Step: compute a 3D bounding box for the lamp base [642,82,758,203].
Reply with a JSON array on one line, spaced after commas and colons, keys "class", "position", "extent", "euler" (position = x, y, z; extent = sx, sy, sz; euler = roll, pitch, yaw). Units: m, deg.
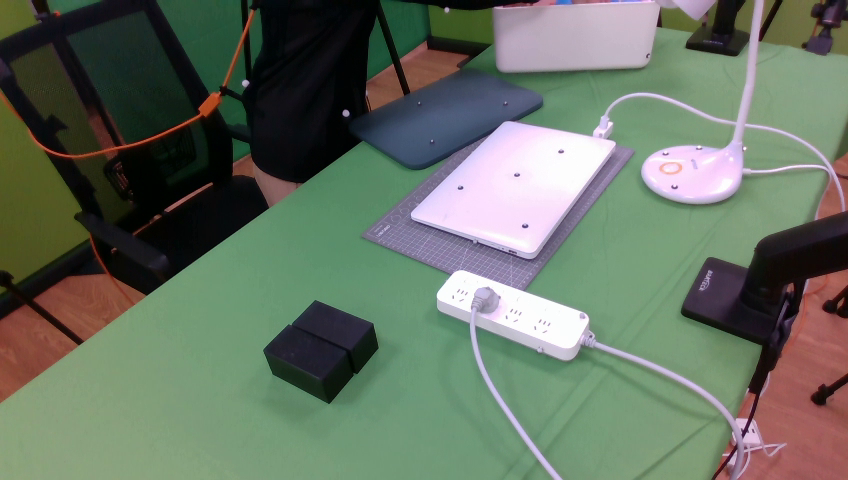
[{"class": "lamp base", "position": [0.464, -0.174, 0.992], "extent": [0.179, 0.181, 0.159], "euler": [-5, 41, -1]}]

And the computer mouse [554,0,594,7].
[{"class": "computer mouse", "position": [0.372, -0.560, 1.454], "extent": [0.117, 0.041, 0.062], "euler": [-2, 38, -3]}]

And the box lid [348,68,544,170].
[{"class": "box lid", "position": [0.048, -0.272, 1.298], "extent": [0.373, 0.015, 0.261], "euler": [-31, 45, -25]}]

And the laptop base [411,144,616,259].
[{"class": "laptop base", "position": [0.168, -0.101, 1.074], "extent": [0.234, 0.023, 0.355], "euler": [17, 46, 30]}]

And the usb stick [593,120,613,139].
[{"class": "usb stick", "position": [0.336, -0.201, 1.147], "extent": [0.021, 0.027, 0.059], "euler": [26, 53, 27]}]

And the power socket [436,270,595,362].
[{"class": "power socket", "position": [0.118, 0.101, 0.832], "extent": [0.225, 0.033, 0.072], "euler": [19, 48, 27]}]

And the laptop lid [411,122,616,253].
[{"class": "laptop lid", "position": [0.164, -0.111, 1.067], "extent": [0.240, 0.013, 0.357], "euler": [19, 46, 31]}]

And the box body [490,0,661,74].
[{"class": "box body", "position": [0.346, -0.520, 1.429], "extent": [0.363, 0.161, 0.253], "euler": [1, 41, 9]}]

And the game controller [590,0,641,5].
[{"class": "game controller", "position": [0.421, -0.530, 1.392], "extent": [0.155, 0.052, 0.096], "euler": [-11, 31, -5]}]

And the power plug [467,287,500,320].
[{"class": "power plug", "position": [0.073, 0.092, 0.814], "extent": [0.035, 0.053, 0.073], "euler": [29, 54, 34]}]

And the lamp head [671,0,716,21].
[{"class": "lamp head", "position": [0.375, -0.373, 0.807], "extent": [0.122, 0.113, 0.112], "euler": [-40, 27, 32]}]
